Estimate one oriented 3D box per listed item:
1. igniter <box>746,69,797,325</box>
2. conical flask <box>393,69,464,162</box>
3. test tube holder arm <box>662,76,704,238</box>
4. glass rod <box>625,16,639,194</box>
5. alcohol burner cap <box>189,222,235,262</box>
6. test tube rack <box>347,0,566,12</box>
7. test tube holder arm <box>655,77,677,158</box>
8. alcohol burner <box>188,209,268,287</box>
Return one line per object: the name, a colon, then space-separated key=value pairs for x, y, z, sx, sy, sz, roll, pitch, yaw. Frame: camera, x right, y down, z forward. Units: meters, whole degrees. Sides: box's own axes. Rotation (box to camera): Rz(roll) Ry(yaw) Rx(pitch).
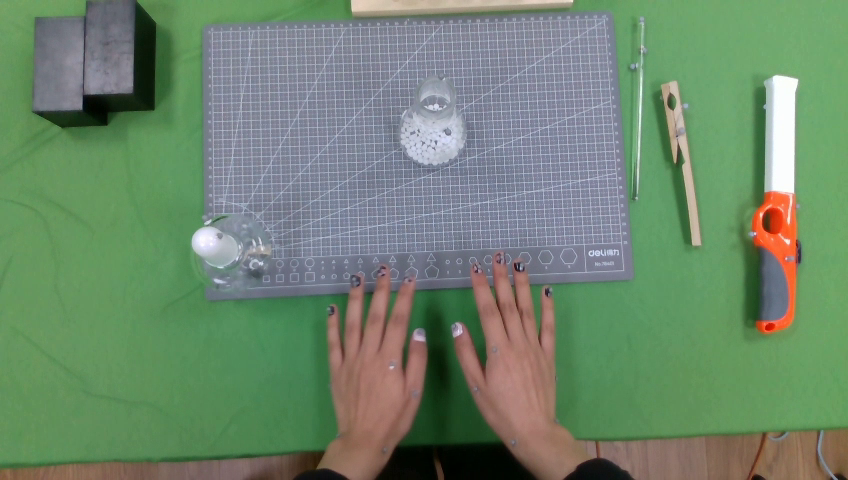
igniter: x=0.372 y=-0.046 z=0.646 sx=0.057 sy=0.025 sz=0.276 roll=6 pitch=84 yaw=-11
conical flask: x=0.006 y=-0.126 z=0.594 sx=0.075 sy=0.122 sz=0.075 roll=0 pitch=84 yaw=-1
test tube holder arm: x=0.278 y=-0.089 z=0.651 sx=0.013 sy=0.015 sz=0.178 roll=-14 pitch=83 yaw=34
glass rod: x=0.227 y=-0.148 z=0.662 sx=0.008 sy=0.008 sz=0.199 roll=4 pitch=86 yaw=-1
alcohol burner cap: x=-0.193 y=0.000 z=0.545 sx=0.034 sy=0.048 sz=0.033 roll=0 pitch=75 yaw=-1
test tube rack: x=0.036 y=-0.295 z=0.634 sx=0.242 sy=0.085 sz=0.066 roll=-3 pitch=84 yaw=-2
test tube holder arm: x=0.265 y=-0.132 z=0.658 sx=0.010 sy=0.015 sz=0.087 roll=-13 pitch=84 yaw=34
alcohol burner: x=-0.193 y=0.006 z=0.580 sx=0.078 sy=0.119 sz=0.077 roll=0 pitch=82 yaw=1
